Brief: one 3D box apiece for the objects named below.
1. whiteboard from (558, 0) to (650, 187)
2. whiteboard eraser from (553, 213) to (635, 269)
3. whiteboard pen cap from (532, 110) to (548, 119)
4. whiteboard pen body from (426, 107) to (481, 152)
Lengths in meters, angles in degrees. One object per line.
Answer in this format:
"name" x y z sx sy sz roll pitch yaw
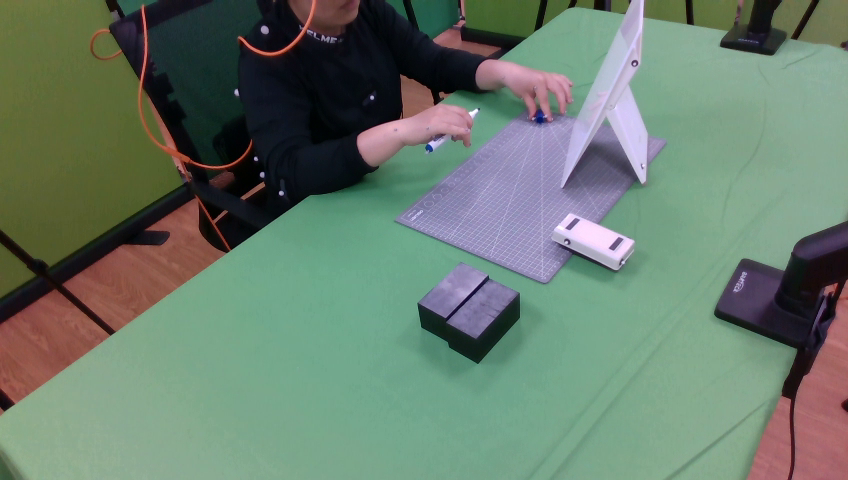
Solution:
"whiteboard" 0.362 -0.238 1.026 0.144 0.306 0.217 21 44 3
"whiteboard eraser" 0.258 0.003 0.918 0.112 0.042 0.056 27 49 30
"whiteboard pen cap" 0.237 -0.256 1.234 0.018 0.018 0.033 -29 30 -23
"whiteboard pen body" 0.055 -0.198 1.071 0.017 0.017 0.141 29 59 35
